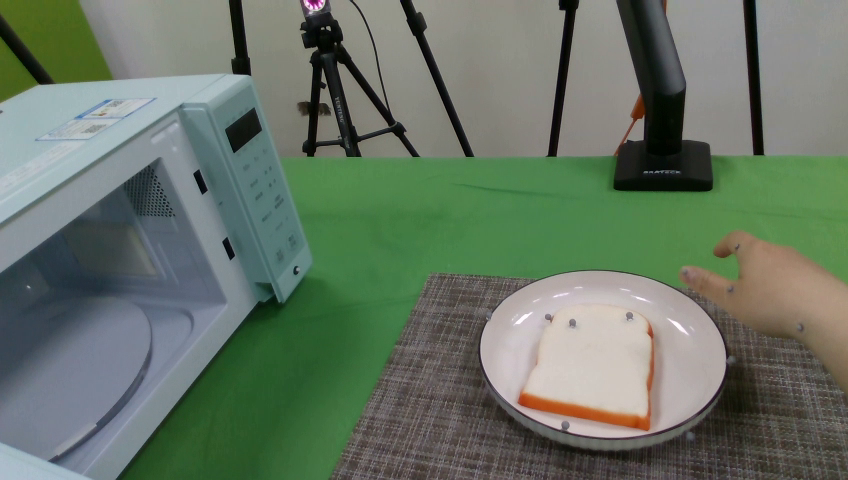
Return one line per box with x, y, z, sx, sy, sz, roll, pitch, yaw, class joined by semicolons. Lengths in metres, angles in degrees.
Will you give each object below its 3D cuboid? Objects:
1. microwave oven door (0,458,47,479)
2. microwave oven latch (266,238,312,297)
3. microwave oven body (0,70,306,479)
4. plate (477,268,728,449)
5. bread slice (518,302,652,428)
-0.149;0.185;0.291;0.354;0.246;0.039;6;37;24;microwave oven door
-0.160;0.031;0.711;0.030;0.030;0.078;4;37;20;microwave oven latch
-0.370;0.047;0.573;0.325;0.262;0.439;3;37;20;microwave oven body
0.152;0.102;0.538;0.209;0.038;0.207;-8;34;6;plate
0.149;0.103;0.540;0.104;0.019;0.131;4;37;22;bread slice
